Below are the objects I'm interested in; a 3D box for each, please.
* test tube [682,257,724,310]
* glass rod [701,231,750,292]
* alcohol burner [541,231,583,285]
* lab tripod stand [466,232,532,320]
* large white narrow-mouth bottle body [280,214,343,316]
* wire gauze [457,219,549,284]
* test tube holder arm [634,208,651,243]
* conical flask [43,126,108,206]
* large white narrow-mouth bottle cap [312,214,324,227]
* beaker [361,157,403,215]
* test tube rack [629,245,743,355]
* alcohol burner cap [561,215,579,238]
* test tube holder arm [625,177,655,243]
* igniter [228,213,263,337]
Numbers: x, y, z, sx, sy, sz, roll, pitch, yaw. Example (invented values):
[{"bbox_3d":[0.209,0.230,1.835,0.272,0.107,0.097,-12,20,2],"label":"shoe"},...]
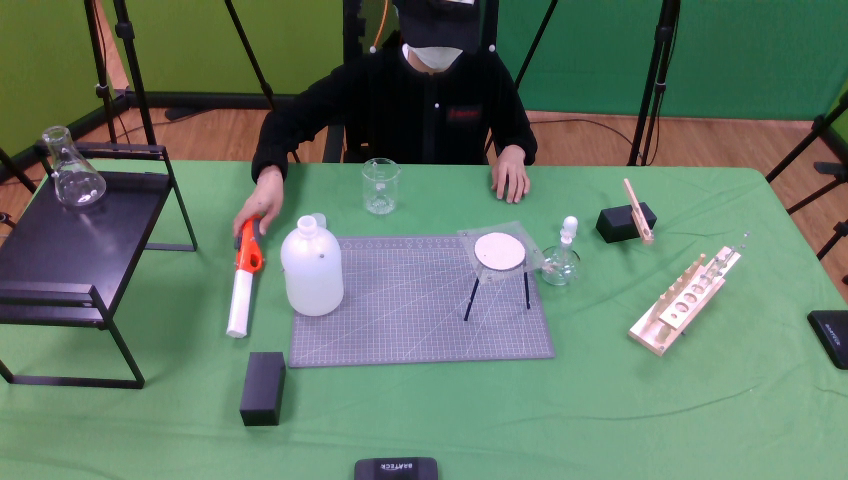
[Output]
[{"bbox_3d":[0.475,0.080,1.037,0.017,0.151,0.017,2,51,-2],"label":"test tube"},{"bbox_3d":[0.519,0.045,1.050,0.008,0.201,0.008,0,55,0],"label":"glass rod"},{"bbox_3d":[0.258,0.027,1.123,0.078,0.120,0.077,1,47,-1],"label":"alcohol burner"},{"bbox_3d":[0.125,0.059,1.065,0.148,0.132,0.147,1,45,0],"label":"lab tripod stand"},{"bbox_3d":[-0.190,0.035,1.025,0.102,0.195,0.101,2,46,-2],"label":"large white narrow-mouth bottle body"},{"bbox_3d":[0.131,0.014,1.016,0.121,0.011,0.124,-12,47,-14],"label":"wire gauze"},{"bbox_3d":[0.428,-0.030,1.189,0.010,0.015,0.087,1,47,-2],"label":"test tube holder arm"},{"bbox_3d":[-0.555,-0.119,0.953,0.075,0.122,0.075,2,46,-2],"label":"conical flask"},{"bbox_3d":[-0.219,-0.033,1.214,0.038,0.024,0.037,2,46,-2],"label":"large white narrow-mouth bottle cap"},{"bbox_3d":[-0.086,-0.108,1.241,0.084,0.101,0.073,-8,48,-13],"label":"beaker"},{"bbox_3d":[0.474,0.095,1.091,0.242,0.085,0.066,-34,56,-31],"label":"test tube rack"},{"bbox_3d":[0.299,-0.030,1.231,0.034,0.048,0.033,1,46,0],"label":"alcohol burner cap"},{"bbox_3d":[0.433,-0.063,1.220,0.013,0.015,0.177,1,47,-3],"label":"test tube holder arm"},{"bbox_3d":[-0.323,0.053,1.103,0.057,0.025,0.274,30,38,-35],"label":"igniter"}]
